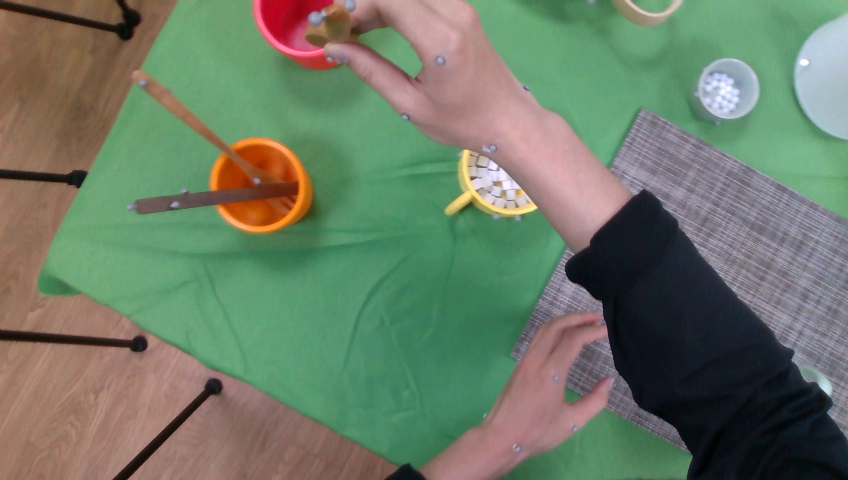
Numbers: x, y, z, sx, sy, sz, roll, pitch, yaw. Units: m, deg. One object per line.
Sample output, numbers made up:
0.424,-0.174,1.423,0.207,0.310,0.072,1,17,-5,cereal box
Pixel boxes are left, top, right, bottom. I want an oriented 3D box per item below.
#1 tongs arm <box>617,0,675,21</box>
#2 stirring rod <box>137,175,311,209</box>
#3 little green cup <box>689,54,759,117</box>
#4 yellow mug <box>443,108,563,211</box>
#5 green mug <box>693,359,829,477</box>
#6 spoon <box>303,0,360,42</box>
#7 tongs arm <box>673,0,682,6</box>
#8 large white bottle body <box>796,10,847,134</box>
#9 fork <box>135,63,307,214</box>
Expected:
0.118,-0.374,0.595,0.051,0.026,0.384,-33,89,-3,tongs arm
-0.185,-0.048,0.585,0.177,0.006,0.014,-13,93,-42,stirring rod
0.310,-0.158,0.633,0.061,0.038,0.061,0,91,1,little green cup
0.074,-0.071,0.621,0.131,0.064,0.100,-36,92,2,yellow mug
0.343,0.167,0.605,0.125,0.105,0.092,-45,90,1,green mug
-0.054,-0.131,0.369,0.042,0.192,0.022,-8,109,-8,spoon
0.192,-0.412,0.596,0.028,0.028,0.387,-19,89,-6,tongs arm
0.458,-0.176,0.560,0.130,0.184,0.130,0,91,1,large white bottle body
-0.186,-0.091,0.578,0.028,0.018,0.210,-44,134,0,fork
